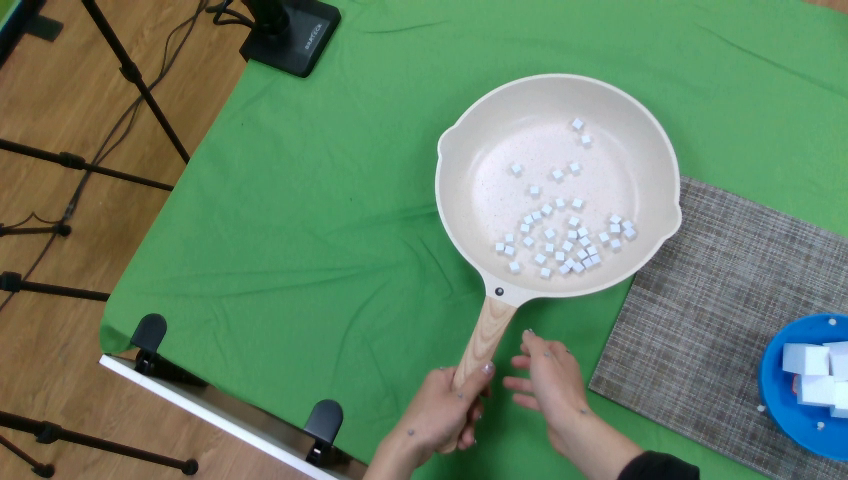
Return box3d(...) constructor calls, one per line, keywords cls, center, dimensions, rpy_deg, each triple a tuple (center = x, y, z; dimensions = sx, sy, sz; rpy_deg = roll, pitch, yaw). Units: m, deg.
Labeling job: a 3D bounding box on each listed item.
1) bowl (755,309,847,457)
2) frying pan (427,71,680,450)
box3d(cls="bowl", center=(0.429, 0.155, 0.656), dimensions=(0.151, 0.077, 0.150), rpy_deg=(-2, 74, 7))
box3d(cls="frying pan", center=(0.115, 0.018, 0.728), dimensions=(0.305, 0.103, 0.486), rpy_deg=(23, 70, 14))
